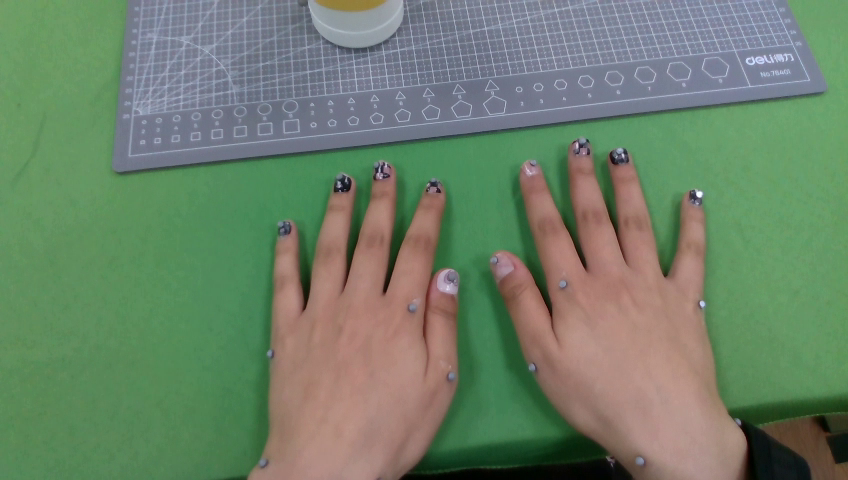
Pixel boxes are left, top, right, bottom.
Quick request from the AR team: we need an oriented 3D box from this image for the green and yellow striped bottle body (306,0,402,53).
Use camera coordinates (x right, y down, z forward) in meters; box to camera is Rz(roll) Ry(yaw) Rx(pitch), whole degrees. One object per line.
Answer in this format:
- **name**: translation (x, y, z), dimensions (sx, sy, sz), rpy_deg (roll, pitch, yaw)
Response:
- **green and yellow striped bottle body**: translation (-0.046, -0.175, 0.358), dimensions (0.063, 0.120, 0.062), rpy_deg (0, 66, 1)
